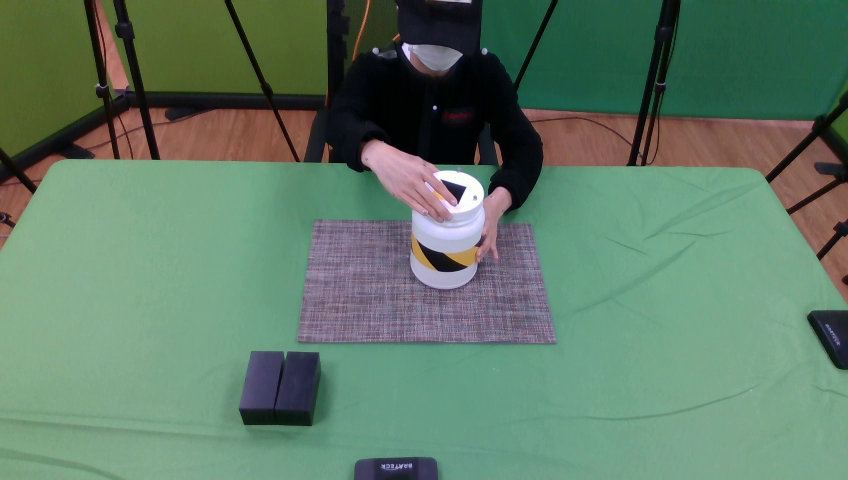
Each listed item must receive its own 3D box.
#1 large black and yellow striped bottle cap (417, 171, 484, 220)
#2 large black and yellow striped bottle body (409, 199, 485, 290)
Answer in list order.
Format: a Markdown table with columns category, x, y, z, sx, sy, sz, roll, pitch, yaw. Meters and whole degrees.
| category | x | y | z | sx | sy | sz | roll | pitch | yaw |
| --- | --- | --- | --- | --- | --- | --- | --- | --- | --- |
| large black and yellow striped bottle cap | 0.044 | -0.077 | 1.032 | 0.115 | 0.019 | 0.114 | 1 | 43 | -1 |
| large black and yellow striped bottle body | 0.040 | -0.013 | 1.097 | 0.131 | 0.185 | 0.130 | 2 | 46 | -2 |
